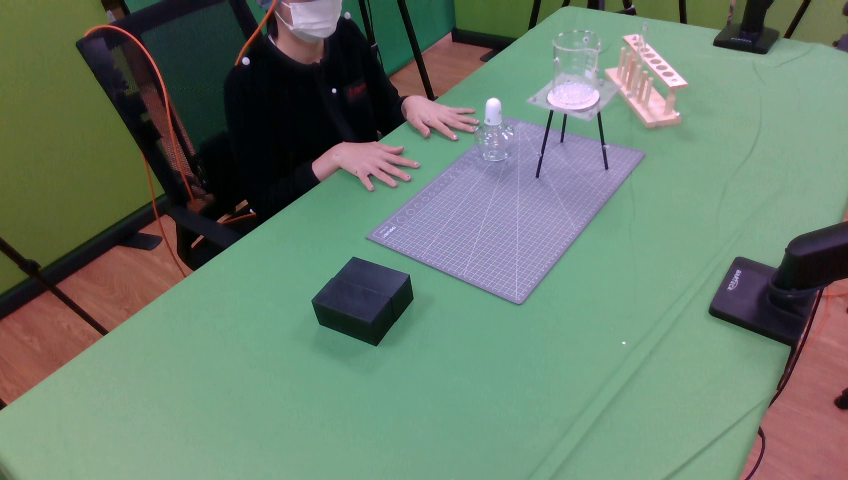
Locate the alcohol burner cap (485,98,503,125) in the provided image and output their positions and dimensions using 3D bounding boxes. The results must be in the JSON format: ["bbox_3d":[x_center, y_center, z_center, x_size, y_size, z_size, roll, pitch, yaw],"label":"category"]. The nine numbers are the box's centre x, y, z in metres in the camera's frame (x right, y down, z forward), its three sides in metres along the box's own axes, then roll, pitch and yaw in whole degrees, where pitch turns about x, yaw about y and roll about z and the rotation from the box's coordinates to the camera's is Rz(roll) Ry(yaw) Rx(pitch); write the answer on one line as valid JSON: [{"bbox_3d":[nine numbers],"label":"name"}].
[{"bbox_3d":[0.126,-0.234,1.097,0.034,0.048,0.033,-3,39,3],"label":"alcohol burner cap"}]

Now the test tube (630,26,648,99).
[{"bbox_3d":[0.426,-0.350,1.199,0.017,0.151,0.017,-4,42,4],"label":"test tube"}]

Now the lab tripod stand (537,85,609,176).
[{"bbox_3d":[0.259,-0.192,1.068,0.148,0.132,0.147,-4,43,4],"label":"lab tripod stand"}]

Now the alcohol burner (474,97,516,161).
[{"bbox_3d":[0.131,-0.208,1.121,0.078,0.119,0.077,-6,40,5],"label":"alcohol burner"}]

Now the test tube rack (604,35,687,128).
[{"bbox_3d":[0.447,-0.330,1.242,0.067,0.085,0.241,-9,41,-2],"label":"test tube rack"}]

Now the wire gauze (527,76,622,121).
[{"bbox_3d":[0.255,-0.247,1.030,0.124,0.011,0.122,23,49,34],"label":"wire gauze"}]

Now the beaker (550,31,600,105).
[{"bbox_3d":[0.250,-0.281,0.996,0.074,0.101,0.083,-37,49,-27],"label":"beaker"}]
